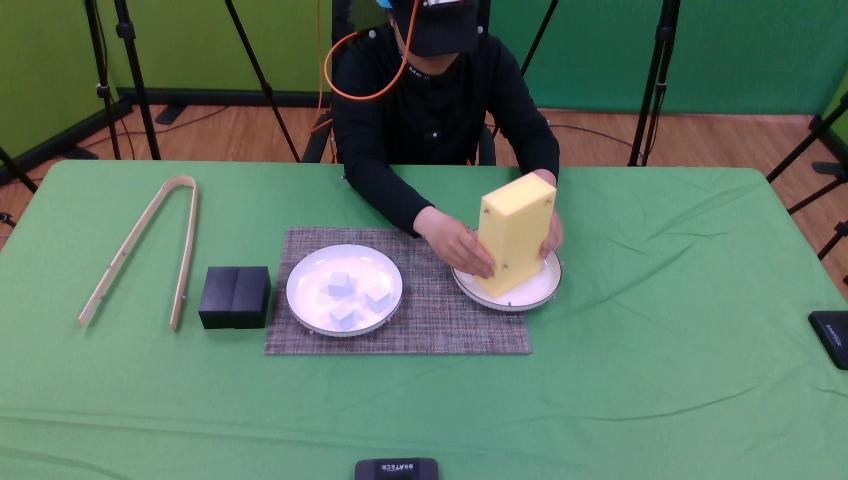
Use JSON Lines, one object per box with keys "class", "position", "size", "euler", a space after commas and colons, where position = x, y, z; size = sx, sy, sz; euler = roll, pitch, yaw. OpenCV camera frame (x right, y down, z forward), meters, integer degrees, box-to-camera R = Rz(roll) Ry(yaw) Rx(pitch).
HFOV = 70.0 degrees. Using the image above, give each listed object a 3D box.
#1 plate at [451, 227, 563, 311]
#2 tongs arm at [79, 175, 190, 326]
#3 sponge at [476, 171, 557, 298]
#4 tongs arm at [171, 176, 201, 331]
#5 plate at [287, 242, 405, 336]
{"class": "plate", "position": [0.153, 0.054, 1.139], "size": [0.209, 0.038, 0.208], "euler": [2, 47, -2]}
{"class": "tongs arm", "position": [-0.534, 0.005, 1.145], "size": [0.051, 0.026, 0.382], "euler": [6, 45, 1]}
{"class": "sponge", "position": [0.159, -0.007, 1.068], "size": [0.118, 0.208, 0.060], "euler": [-29, 51, -25]}
{"class": "tongs arm", "position": [-0.453, 0.010, 1.150], "size": [0.028, 0.028, 0.385], "euler": [-6, 47, -6]}
{"class": "plate", "position": [-0.138, 0.090, 1.084], "size": [0.208, 0.039, 0.206], "euler": [2, 46, -2]}
